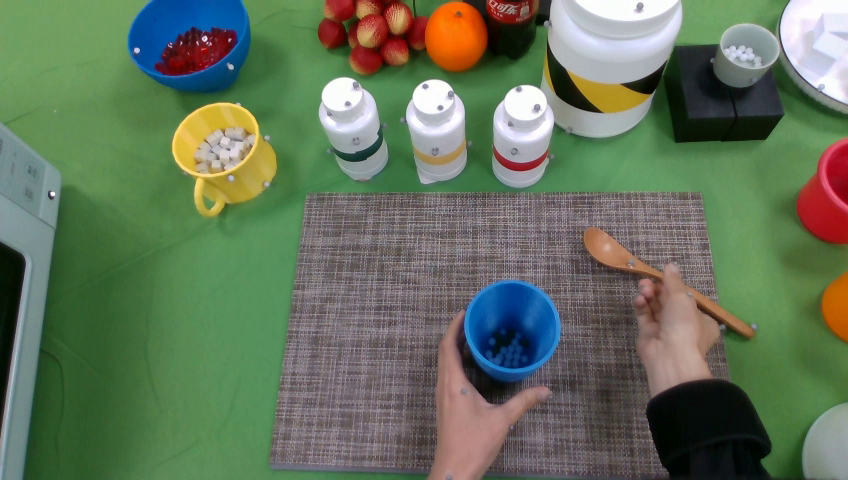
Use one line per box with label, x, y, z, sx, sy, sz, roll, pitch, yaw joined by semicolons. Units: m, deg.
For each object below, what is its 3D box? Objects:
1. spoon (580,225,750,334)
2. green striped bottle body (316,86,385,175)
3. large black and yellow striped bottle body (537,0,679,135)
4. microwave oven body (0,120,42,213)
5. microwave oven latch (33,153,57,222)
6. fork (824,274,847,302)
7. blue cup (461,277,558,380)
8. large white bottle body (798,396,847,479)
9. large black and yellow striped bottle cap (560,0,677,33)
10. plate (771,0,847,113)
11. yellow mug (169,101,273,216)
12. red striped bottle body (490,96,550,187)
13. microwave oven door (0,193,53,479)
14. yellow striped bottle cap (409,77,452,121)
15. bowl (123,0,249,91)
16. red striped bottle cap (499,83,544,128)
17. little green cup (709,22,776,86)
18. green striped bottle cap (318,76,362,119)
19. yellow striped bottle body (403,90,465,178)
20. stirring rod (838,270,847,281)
spoon;0.247;0.041;0.627;0.193;0.022;0.041;31;45;16
green striped bottle body;-0.082;-0.128;0.678;0.063;0.120;0.062;-2;66;4
large black and yellow striped bottle body;0.195;-0.215;0.657;0.131;0.185;0.130;-2;66;5
microwave oven body;-0.582;0.084;0.549;0.326;0.262;0.438;-9;67;1
microwave oven latch;-0.450;-0.060;0.704;0.030;0.030;0.078;-7;67;2
fork;0.458;0.068;0.532;0.028;0.019;0.205;-33;24;-14
blue cup;0.078;0.092;0.575;0.092;0.101;0.092;-1;66;3
large white bottle body;0.400;0.172;0.471;0.130;0.186;0.129;-2;66;5
large black and yellow striped bottle cap;0.187;-0.248;0.580;0.115;0.019;0.114;-2;65;5
plate;0.516;-0.229;0.715;0.209;0.038;0.207;-2;67;4
yellow mug;-0.239;-0.089;0.704;0.100;0.064;0.130;10;68;8
red striped bottle body;0.104;-0.113;0.656;0.063;0.121;0.062;-4;64;8
microwave oven door;-0.433;0.099;0.524;0.039;0.246;0.353;-9;66;2
yellow striped bottle cap;0.007;-0.145;0.621;0.044;0.019;0.044;-1;68;4
bowl;-0.287;-0.243;0.768;0.151;0.077;0.150;-1;67;4
red striped bottle cap;0.098;-0.136;0.608;0.044;0.018;0.044;0;65;1
little green cup;0.345;-0.202;0.663;0.061;0.039;0.061;-1;65;3
green striped bottle cap;-0.088;-0.149;0.630;0.044;0.020;0.044;-1;66;3
yellow striped bottle body;0.011;-0.124;0.668;0.063;0.121;0.062;-2;66;5
stirring rod;0.431;0.067;0.540;0.014;0.006;0.175;-6;23;2
